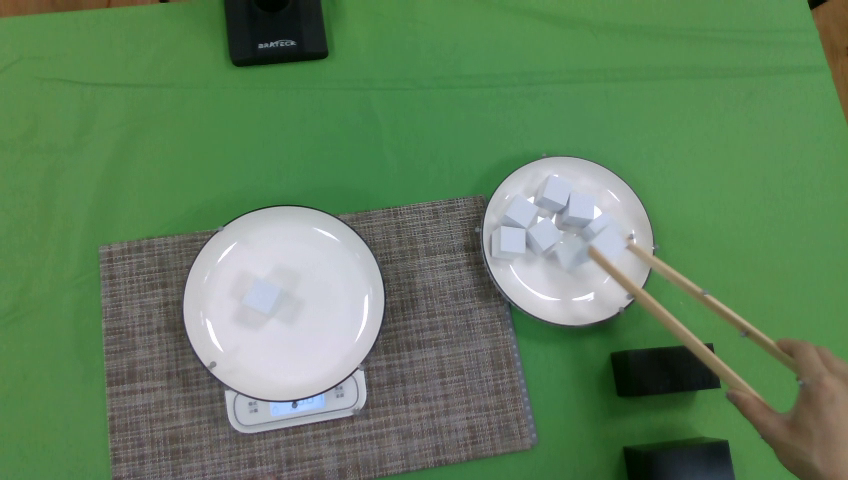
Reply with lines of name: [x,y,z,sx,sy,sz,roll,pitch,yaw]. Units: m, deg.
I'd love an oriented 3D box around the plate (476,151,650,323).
plate: [0.163,-0.003,0.725,0.208,0.039,0.206,1,77,-5]

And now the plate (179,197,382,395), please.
plate: [-0.149,0.058,0.646,0.209,0.038,0.208,1,77,-6]

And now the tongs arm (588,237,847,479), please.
tongs arm: [0.294,0.122,0.569,0.028,0.028,0.383,-34,57,-13]

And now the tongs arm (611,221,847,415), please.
tongs arm: [0.312,0.109,0.573,0.051,0.027,0.381,-39,58,-13]

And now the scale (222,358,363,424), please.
scale: [-0.152,0.094,0.672,0.149,0.031,0.200,-7,79,-7]
